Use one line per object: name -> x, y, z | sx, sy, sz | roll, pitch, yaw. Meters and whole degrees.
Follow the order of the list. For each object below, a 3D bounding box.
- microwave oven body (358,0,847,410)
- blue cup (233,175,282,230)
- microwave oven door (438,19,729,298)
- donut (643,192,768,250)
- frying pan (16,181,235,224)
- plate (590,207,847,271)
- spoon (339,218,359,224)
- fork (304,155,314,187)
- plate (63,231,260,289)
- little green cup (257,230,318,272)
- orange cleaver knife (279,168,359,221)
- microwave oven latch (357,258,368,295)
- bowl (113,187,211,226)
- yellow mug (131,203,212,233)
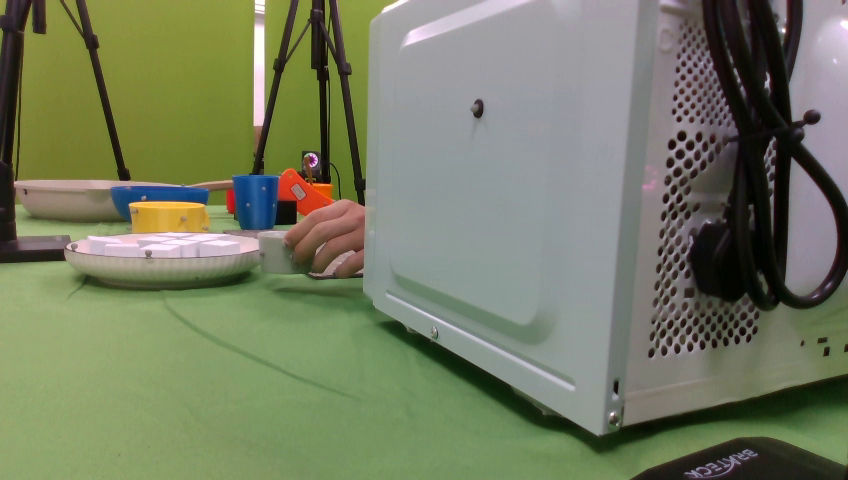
microwave oven body -> 0.210, -0.051, 0.471 | 0.444, 0.260, 0.324 | -1, 7, -28
blue cup -> -0.314, -0.071, 1.141 | 0.093, 0.100, 0.092 | 0, 7, 0
microwave oven door -> 0.181, -0.076, 0.618 | 0.358, 0.243, 0.039 | -2, 8, -28
donut -> 0.239, -0.016, 0.518 | 0.099, 0.048, 0.099 | 2, 4, 0
frying pan -> -0.553, -0.097, 1.265 | 0.490, 0.102, 0.305 | -10, 13, -24
plate -> 0.246, -0.003, 0.510 | 0.209, 0.038, 0.209 | 3, 6, 0
spoon -> -0.087, -0.041, 1.268 | 0.193, 0.021, 0.041 | 3, 20, 13
fork -> -0.268, -0.134, 1.446 | 0.028, 0.018, 0.207 | 1, -36, -1
plate -> -0.288, 0.021, 0.687 | 0.208, 0.039, 0.207 | 2, 8, 0
little green cup -> -0.143, 0.011, 0.630 | 0.061, 0.038, 0.061 | 4, 6, 0
orange cleaver knife -> -0.236, -0.084, 1.333 | 0.212, 0.077, 0.012 | 31, -9, -31
microwave oven latch -> -0.019, 0.031, 0.529 | 0.079, 0.029, 0.030 | -1, 7, -27
bowl -> -0.436, -0.046, 1.013 | 0.151, 0.077, 0.151 | 2, 7, 0
yellow mug -> -0.356, -0.020, 0.878 | 0.099, 0.064, 0.131 | 4, 7, 22
